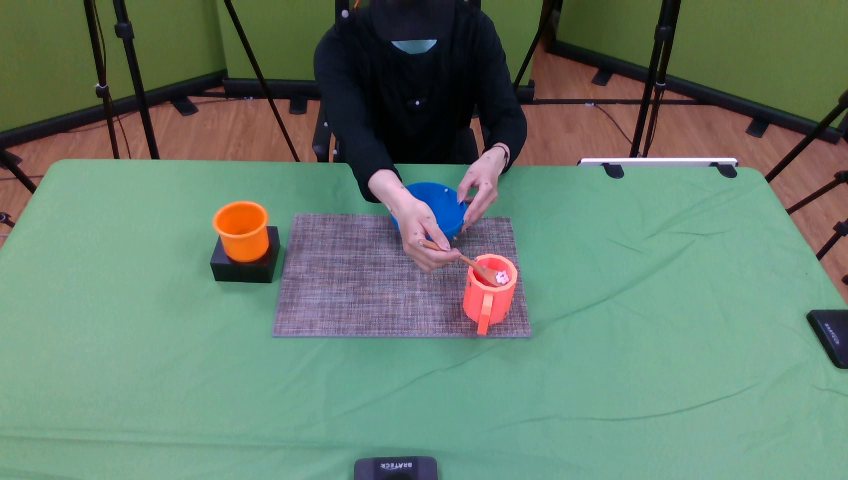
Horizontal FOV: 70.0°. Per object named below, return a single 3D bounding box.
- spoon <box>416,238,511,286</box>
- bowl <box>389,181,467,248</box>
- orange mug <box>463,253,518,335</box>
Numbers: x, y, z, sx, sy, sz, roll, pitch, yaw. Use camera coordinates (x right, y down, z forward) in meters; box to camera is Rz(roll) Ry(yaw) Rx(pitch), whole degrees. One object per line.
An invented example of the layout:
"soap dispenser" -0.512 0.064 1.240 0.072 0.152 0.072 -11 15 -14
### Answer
"spoon" 0.068 0.034 1.010 0.195 0.021 0.041 28 30 -28
"bowl" 0.007 -0.038 1.188 0.151 0.077 0.150 2 46 -2
"orange mug" 0.112 0.098 1.050 0.083 0.101 0.125 9 41 5
